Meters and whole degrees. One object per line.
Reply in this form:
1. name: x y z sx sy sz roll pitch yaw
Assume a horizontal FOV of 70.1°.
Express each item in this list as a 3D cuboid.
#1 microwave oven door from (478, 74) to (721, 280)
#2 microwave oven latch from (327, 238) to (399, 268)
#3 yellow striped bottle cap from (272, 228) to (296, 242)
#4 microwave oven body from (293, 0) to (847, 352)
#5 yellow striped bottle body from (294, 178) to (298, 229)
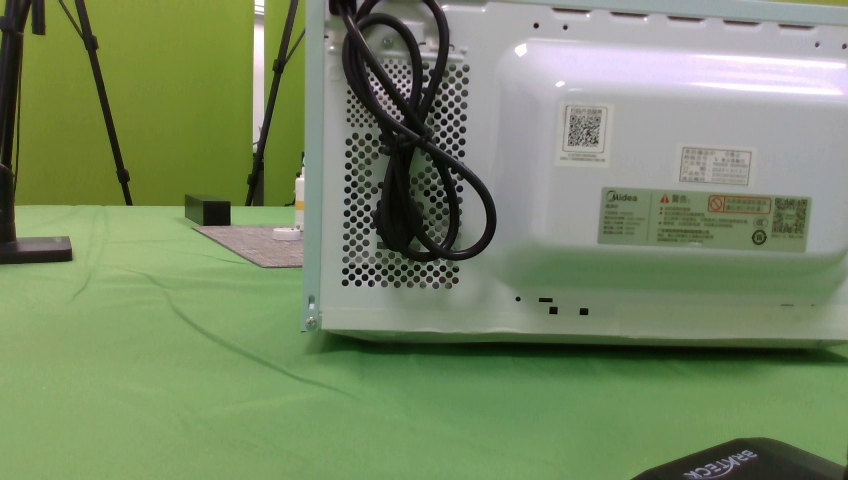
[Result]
1. microwave oven door: 0.217 -0.093 0.839 0.039 0.243 0.354 -4 9 -40
2. microwave oven latch: -0.069 0.015 0.694 0.079 0.029 0.030 3 7 -3
3. yellow striped bottle cap: -0.232 -0.008 1.012 0.044 0.018 0.044 4 8 0
4. microwave oven body: 0.122 -0.055 0.550 0.442 0.260 0.325 3 7 -5
5. yellow striped bottle body: -0.213 -0.078 1.142 0.063 0.120 0.063 2 8 0
